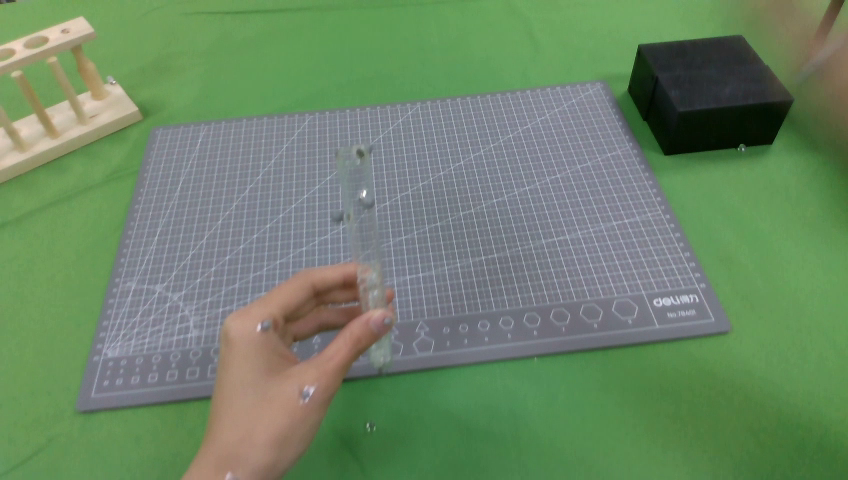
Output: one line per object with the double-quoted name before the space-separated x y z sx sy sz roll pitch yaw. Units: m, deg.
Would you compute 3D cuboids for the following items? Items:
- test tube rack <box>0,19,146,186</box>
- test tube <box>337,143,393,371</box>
"test tube rack" -0.395 -0.105 0.546 0.242 0.086 0.066 -33 55 -22
"test tube" -0.029 0.018 0.319 0.017 0.151 0.017 -2 39 2
